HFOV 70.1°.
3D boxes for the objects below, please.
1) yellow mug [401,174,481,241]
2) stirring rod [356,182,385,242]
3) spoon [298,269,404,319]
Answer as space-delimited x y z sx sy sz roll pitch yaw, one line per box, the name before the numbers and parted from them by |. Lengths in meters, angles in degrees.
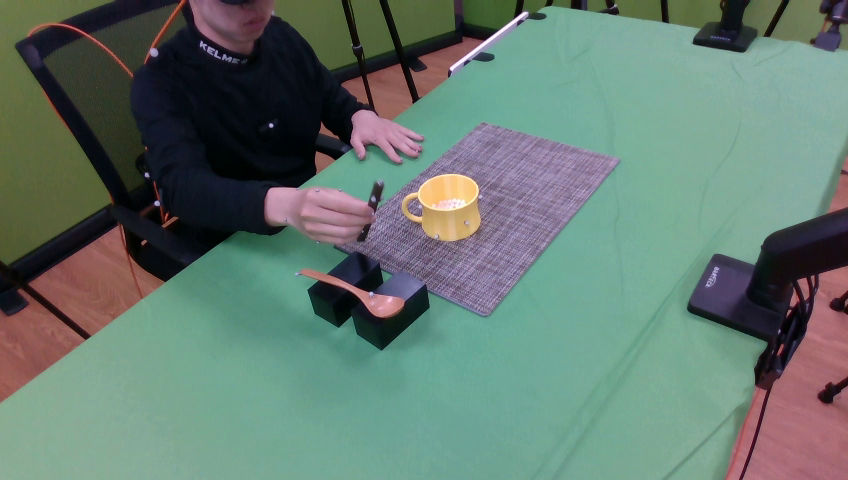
yellow mug | 0.026 -0.054 0.989 0.130 0.064 0.099 -1 41 8
stirring rod | -0.075 -0.034 0.826 0.014 0.176 0.006 7 64 -11
spoon | -0.106 0.068 0.831 0.192 0.022 0.042 21 48 32
